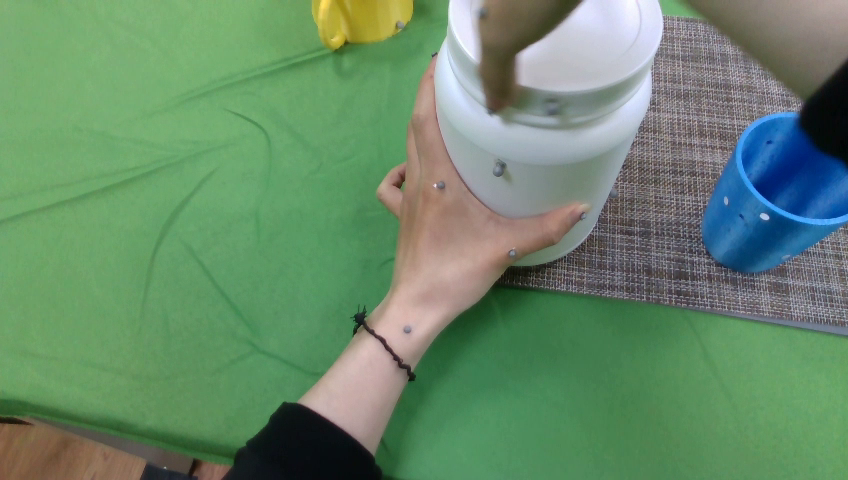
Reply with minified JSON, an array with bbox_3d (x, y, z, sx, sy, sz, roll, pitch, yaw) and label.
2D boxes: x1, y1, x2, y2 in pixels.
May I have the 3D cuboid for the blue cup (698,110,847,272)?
[{"bbox_3d":[0.239,-0.025,0.424,0.092,0.101,0.092,-1,62,2],"label":"blue cup"}]

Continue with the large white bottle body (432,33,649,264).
[{"bbox_3d":[0.070,-0.078,0.407,0.130,0.186,0.129,0,62,1],"label":"large white bottle body"}]

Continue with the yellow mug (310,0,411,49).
[{"bbox_3d":[-0.068,-0.233,0.561,0.099,0.064,0.130,19,65,10],"label":"yellow mug"}]

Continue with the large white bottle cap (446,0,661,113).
[{"bbox_3d":[0.069,-0.119,0.330,0.115,0.018,0.114,0,62,1],"label":"large white bottle cap"}]
